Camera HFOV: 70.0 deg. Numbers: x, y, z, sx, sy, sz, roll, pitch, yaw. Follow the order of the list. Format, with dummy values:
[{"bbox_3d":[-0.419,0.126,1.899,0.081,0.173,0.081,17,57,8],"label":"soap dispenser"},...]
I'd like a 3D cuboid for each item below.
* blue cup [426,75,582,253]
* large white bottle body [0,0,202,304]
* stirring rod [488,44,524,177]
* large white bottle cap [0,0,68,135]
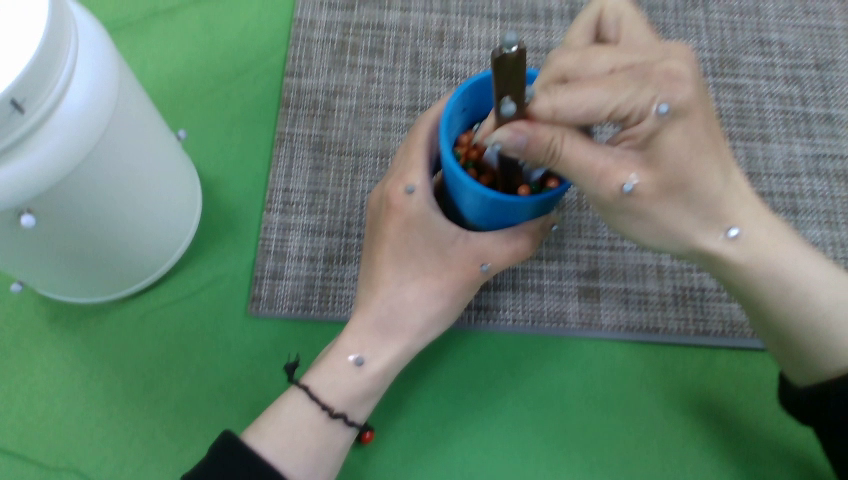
[{"bbox_3d":[0.044,-0.036,0.376,0.092,0.101,0.092,0,68,1],"label":"blue cup"},{"bbox_3d":[-0.213,-0.050,0.329,0.131,0.186,0.129,1,68,-2],"label":"large white bottle body"},{"bbox_3d":[0.043,-0.043,0.306,0.014,0.177,0.006,-24,70,0],"label":"stirring rod"},{"bbox_3d":[-0.211,-0.082,0.251,0.115,0.018,0.114,1,68,-2],"label":"large white bottle cap"}]
